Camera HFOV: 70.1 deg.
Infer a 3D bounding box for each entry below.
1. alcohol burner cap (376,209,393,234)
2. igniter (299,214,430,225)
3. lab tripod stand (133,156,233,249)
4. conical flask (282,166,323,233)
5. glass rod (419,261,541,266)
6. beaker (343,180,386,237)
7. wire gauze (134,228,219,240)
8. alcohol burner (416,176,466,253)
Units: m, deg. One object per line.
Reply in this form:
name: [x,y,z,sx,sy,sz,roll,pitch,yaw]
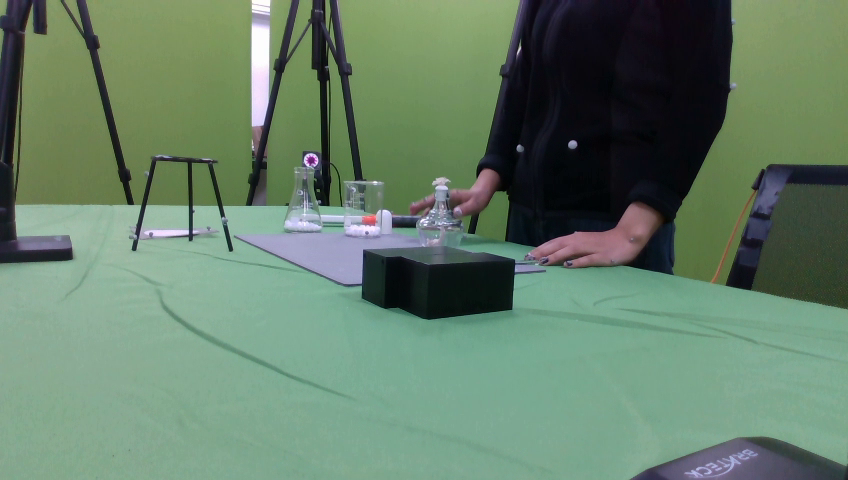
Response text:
alcohol burner cap: [-0.075,-0.036,1.150,0.034,0.048,0.034,2,7,0]
igniter: [-0.123,-0.044,1.281,0.278,0.025,0.057,0,-3,-19]
lab tripod stand: [-0.342,-0.054,0.878,0.148,0.131,0.148,4,6,0]
conical flask: [-0.225,-0.076,1.129,0.075,0.122,0.075,2,8,0]
glass rod: [0.080,0.031,0.807,0.201,0.008,0.008,1,6,-32]
beaker: [-0.111,-0.058,1.090,0.083,0.100,0.074,7,8,33]
wire gauze: [-0.421,-0.014,1.024,0.122,0.011,0.124,-2,7,-34]
alcohol burner: [0.027,-0.040,0.934,0.078,0.119,0.078,2,9,0]
